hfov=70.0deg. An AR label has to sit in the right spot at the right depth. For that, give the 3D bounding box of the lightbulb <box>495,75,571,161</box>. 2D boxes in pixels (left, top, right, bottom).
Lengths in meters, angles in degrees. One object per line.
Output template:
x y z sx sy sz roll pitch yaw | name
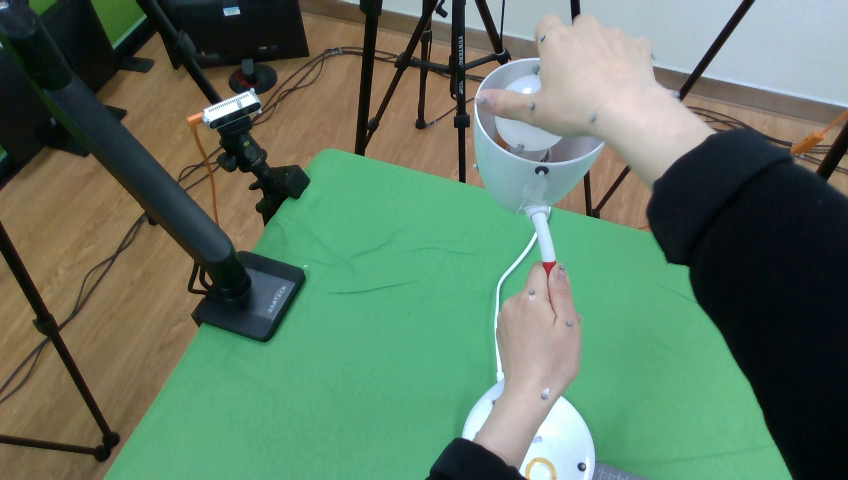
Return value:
0.090 -0.091 0.505 0.059 0.108 0.059 -3 64 6 | lightbulb

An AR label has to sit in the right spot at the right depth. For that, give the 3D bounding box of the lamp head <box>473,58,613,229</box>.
0.094 -0.073 0.526 0.112 0.124 0.111 1 55 0 | lamp head

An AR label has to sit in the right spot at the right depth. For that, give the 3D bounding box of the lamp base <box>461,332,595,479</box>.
0.118 0.193 0.675 0.161 0.182 0.177 -20 54 -13 | lamp base
